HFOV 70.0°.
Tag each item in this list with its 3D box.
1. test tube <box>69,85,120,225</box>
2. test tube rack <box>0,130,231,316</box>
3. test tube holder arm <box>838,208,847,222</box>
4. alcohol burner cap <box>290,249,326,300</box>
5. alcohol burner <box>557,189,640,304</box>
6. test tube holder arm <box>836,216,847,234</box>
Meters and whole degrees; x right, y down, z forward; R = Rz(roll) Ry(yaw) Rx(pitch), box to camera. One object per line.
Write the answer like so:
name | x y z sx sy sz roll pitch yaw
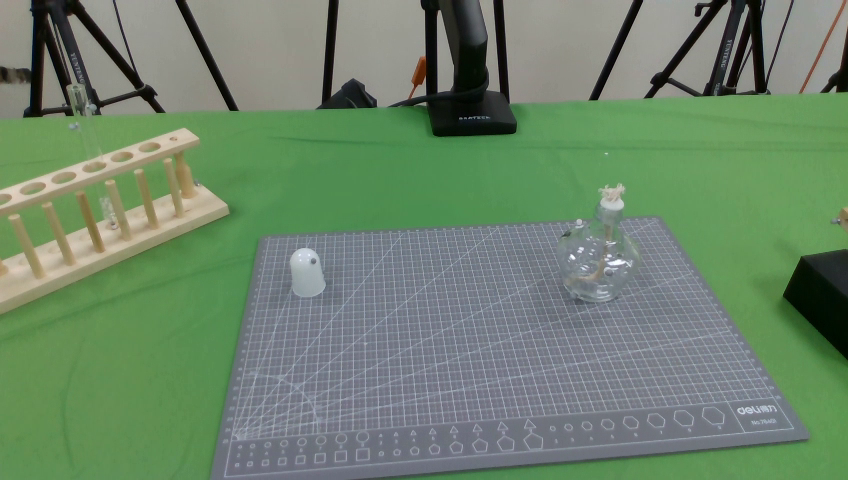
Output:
test tube | -0.328 -0.080 0.608 0.017 0.151 0.017 2 33 -1
test tube rack | -0.330 -0.026 0.618 0.242 0.086 0.066 -30 47 -34
test tube holder arm | 0.422 -0.002 0.567 0.015 0.010 0.087 0 37 -3
alcohol burner cap | -0.112 0.030 0.580 0.034 0.048 0.033 1 38 0
alcohol burner | 0.166 0.001 0.564 0.078 0.120 0.077 1 40 -1
test tube holder arm | 0.423 0.029 0.535 0.015 0.013 0.176 0 36 -3
